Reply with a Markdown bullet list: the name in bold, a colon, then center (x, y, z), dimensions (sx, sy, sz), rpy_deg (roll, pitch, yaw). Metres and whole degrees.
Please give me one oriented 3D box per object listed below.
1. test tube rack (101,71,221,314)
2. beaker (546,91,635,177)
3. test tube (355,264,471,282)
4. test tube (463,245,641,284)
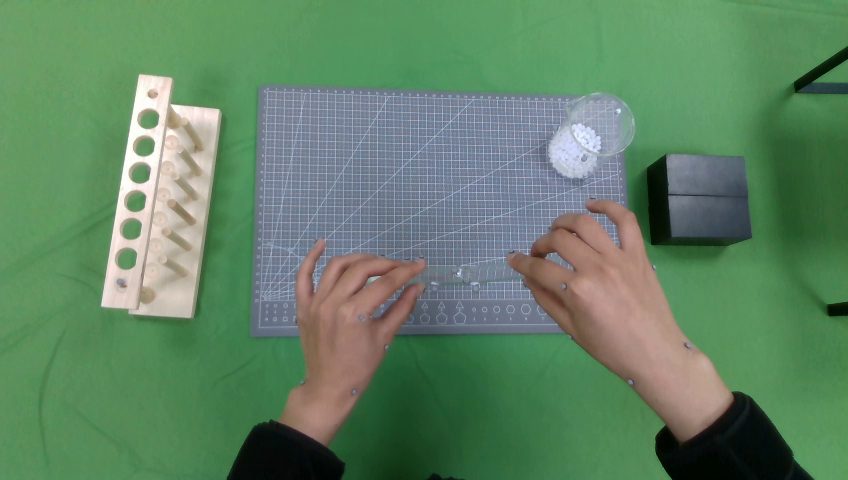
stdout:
- **test tube rack**: center (-0.276, -0.047, 0.649), dimensions (0.067, 0.085, 0.241), rpy_deg (5, 79, -5)
- **beaker**: center (0.186, -0.120, 0.707), dimensions (0.084, 0.100, 0.074), rpy_deg (32, 77, 2)
- **test tube**: center (-0.015, 0.031, 0.566), dimensions (0.017, 0.149, 0.017), rpy_deg (3, 85, -44)
- **test tube**: center (0.107, 0.020, 0.509), dimensions (0.150, 0.017, 0.017), rpy_deg (-7, 80, 0)
